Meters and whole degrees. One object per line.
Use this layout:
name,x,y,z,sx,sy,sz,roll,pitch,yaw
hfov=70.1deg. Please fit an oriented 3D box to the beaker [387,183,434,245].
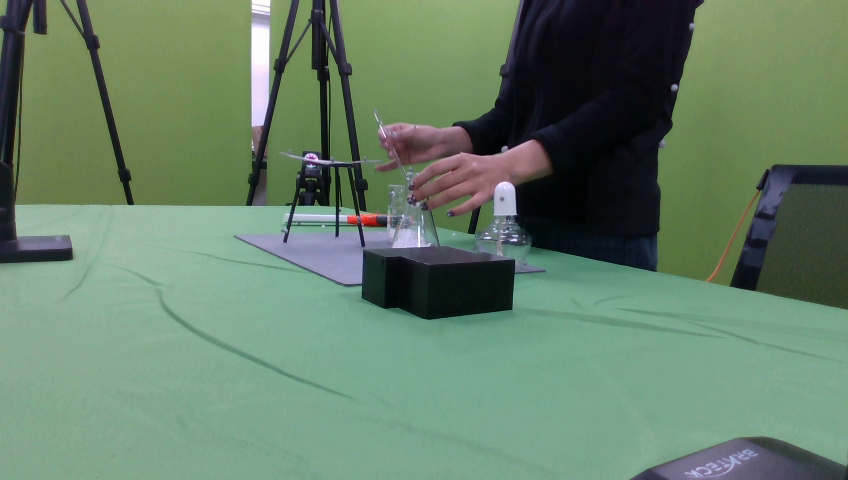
beaker,-0.027,-0.044,1.011,0.074,0.100,0.083,-2,8,-34

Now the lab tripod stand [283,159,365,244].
lab tripod stand,-0.151,-0.063,0.983,0.148,0.131,0.148,4,7,0

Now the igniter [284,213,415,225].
igniter,-0.154,-0.045,1.282,0.278,0.025,0.057,0,-2,-20

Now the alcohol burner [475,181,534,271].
alcohol burner,0.108,-0.020,0.803,0.078,0.119,0.078,3,5,0

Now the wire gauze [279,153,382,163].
wire gauze,-0.149,-0.129,0.974,0.124,0.011,0.122,10,9,41

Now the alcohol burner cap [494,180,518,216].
alcohol burner cap,0.108,-0.055,0.800,0.034,0.048,0.034,-2,4,0

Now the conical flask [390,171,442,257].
conical flask,-0.010,-0.038,0.873,0.075,0.122,0.075,2,5,0

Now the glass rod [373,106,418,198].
glass rod,-0.050,-0.154,1.034,0.008,0.199,0.008,-21,-23,-9
